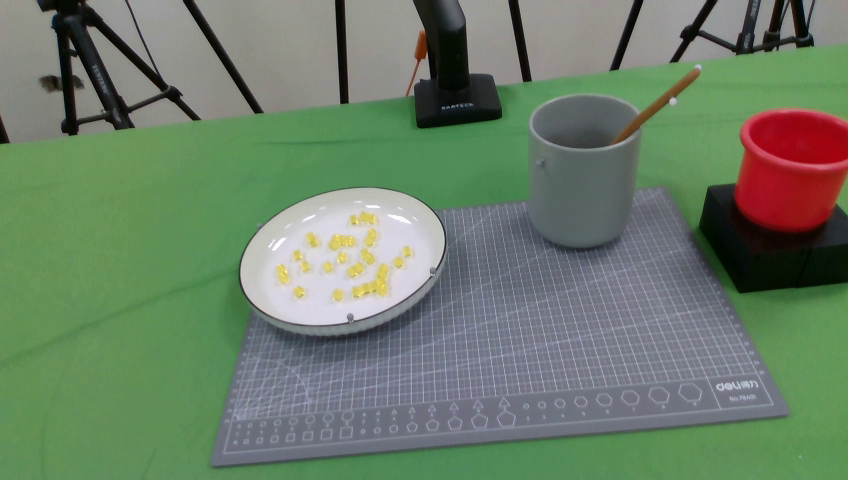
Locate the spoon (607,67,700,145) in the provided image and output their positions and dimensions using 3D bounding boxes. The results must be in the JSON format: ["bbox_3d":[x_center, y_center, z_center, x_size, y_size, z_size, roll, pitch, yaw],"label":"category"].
[{"bbox_3d":[0.180,-0.089,0.562,0.021,0.194,0.041,47,50,11],"label":"spoon"}]

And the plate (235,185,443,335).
[{"bbox_3d":[-0.082,0.020,0.614,0.207,0.039,0.205,-4,41,4],"label":"plate"}]

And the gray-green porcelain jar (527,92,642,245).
[{"bbox_3d":[0.156,-0.066,0.606,0.106,0.128,0.105,-5,41,5],"label":"gray-green porcelain jar"}]
